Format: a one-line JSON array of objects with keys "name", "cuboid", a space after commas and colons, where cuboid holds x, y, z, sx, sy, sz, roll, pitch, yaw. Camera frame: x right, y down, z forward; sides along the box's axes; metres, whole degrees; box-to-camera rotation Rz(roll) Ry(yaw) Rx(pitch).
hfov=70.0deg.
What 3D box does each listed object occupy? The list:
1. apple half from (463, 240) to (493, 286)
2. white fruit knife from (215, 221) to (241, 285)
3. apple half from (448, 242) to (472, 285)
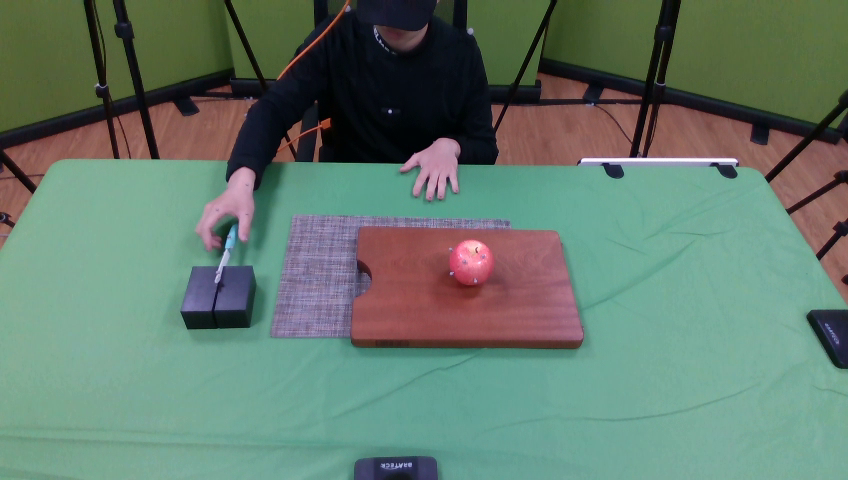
[{"name": "apple half", "cuboid": [0.097, 0.042, 1.093, 0.053, 0.075, 0.080, -3, 42, -13]}, {"name": "white fruit knife", "cuboid": [-0.360, 0.019, 1.114, 0.016, 0.027, 0.206, 0, 32, -6]}, {"name": "apple half", "cuboid": [0.059, 0.046, 1.085, 0.033, 0.081, 0.080, -4, 46, -13]}]
